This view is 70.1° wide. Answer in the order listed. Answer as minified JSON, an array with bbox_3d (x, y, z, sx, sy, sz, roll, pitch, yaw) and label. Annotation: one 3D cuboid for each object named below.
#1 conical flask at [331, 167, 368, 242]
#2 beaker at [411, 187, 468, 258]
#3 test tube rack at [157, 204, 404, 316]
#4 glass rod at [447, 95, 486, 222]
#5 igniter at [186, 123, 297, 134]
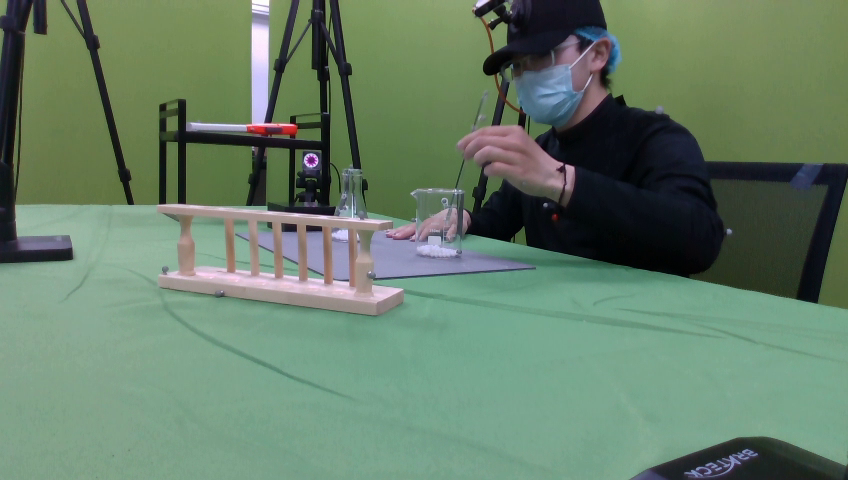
[{"bbox_3d":[-0.123,-0.061,1.018,0.075,0.122,0.075,2,7,0],"label":"conical flask"},{"bbox_3d":[0.021,-0.027,0.892,0.084,0.100,0.074,1,7,-1],"label":"beaker"},{"bbox_3d":[-0.143,0.013,0.599,0.242,0.085,0.067,5,8,19],"label":"test tube rack"},{"bbox_3d":[0.060,-0.113,0.873,0.008,0.199,0.008,12,27,-6],"label":"glass rod"},{"bbox_3d":[-0.392,-0.247,1.341,0.057,0.025,0.278,9,14,38],"label":"igniter"}]
